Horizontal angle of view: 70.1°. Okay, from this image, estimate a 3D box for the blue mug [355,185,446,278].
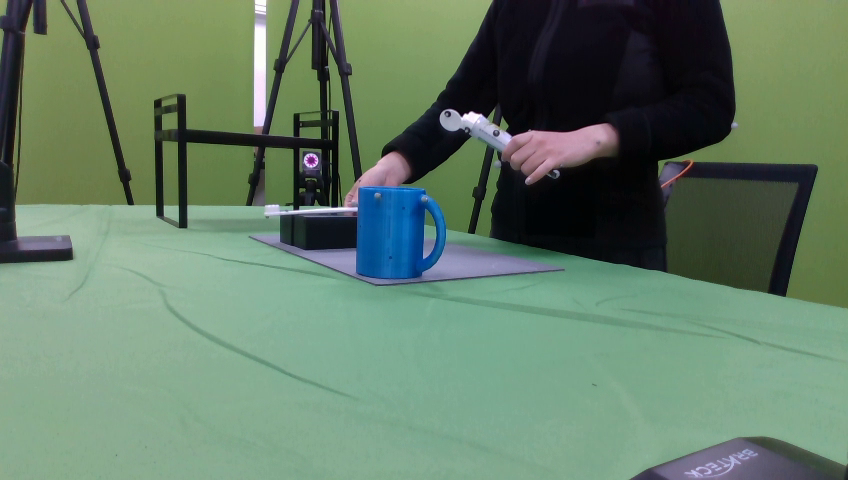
[{"bbox_3d":[-0.027,-0.011,0.723,0.116,0.106,0.083,6,9,27],"label":"blue mug"}]

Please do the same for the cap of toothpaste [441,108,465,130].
[{"bbox_3d":[0.043,-0.180,0.890,0.037,0.037,0.011,5,43,22],"label":"cap of toothpaste"}]

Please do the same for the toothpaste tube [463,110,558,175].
[{"bbox_3d":[0.127,-0.143,0.896,0.165,0.034,0.055,32,25,4],"label":"toothpaste tube"}]

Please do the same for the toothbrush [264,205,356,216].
[{"bbox_3d":[-0.160,-0.049,0.937,0.183,0.016,0.014,-5,1,-36],"label":"toothbrush"}]
